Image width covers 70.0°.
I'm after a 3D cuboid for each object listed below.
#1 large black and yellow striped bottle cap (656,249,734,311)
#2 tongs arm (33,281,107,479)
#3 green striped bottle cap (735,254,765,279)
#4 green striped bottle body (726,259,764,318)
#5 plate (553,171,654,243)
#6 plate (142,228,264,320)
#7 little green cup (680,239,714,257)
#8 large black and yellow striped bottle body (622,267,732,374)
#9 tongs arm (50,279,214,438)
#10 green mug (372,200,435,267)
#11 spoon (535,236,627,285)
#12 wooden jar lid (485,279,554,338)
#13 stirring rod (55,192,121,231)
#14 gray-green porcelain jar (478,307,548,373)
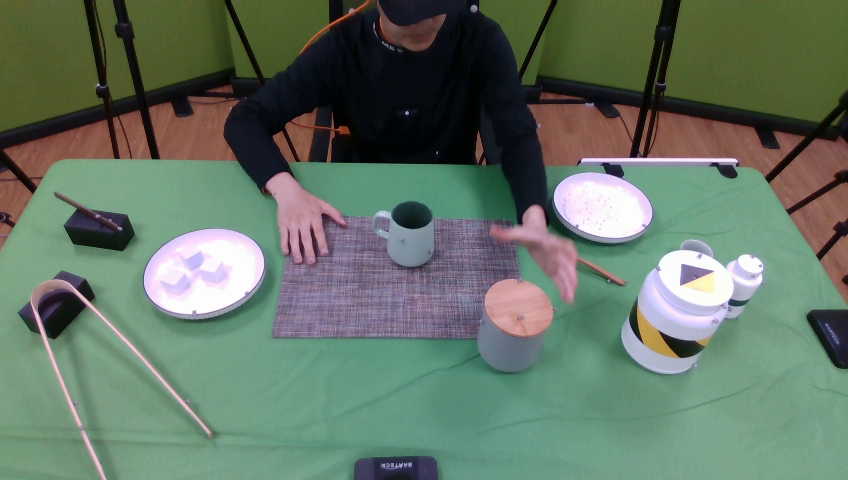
[{"bbox_3d":[0.419,0.061,0.938,0.115,0.019,0.114,2,47,-2],"label":"large black and yellow striped bottle cap"},{"bbox_3d":[-0.517,0.214,0.910,0.051,0.026,0.383,-29,63,-27],"label":"tongs arm"},{"bbox_3d":[0.566,0.046,1.051,0.044,0.020,0.044,0,45,0],"label":"green striped bottle cap"},{"bbox_3d":[0.563,0.081,1.089,0.063,0.120,0.063,2,46,-2],"label":"green striped bottle body"},{"bbox_3d":[0.373,-0.066,1.274,0.209,0.038,0.208,2,46,-2],"label":"plate"},{"bbox_3d":[-0.394,0.064,1.095,0.208,0.039,0.206,2,46,-2],"label":"plate"},{"bbox_3d":[0.530,0.033,1.190,0.061,0.039,0.061,2,47,-2],"label":"little green cup"},{"bbox_3d":[0.415,0.119,0.997,0.131,0.185,0.130,2,46,-2],"label":"large black and yellow striped bottle body"},{"bbox_3d":[-0.459,0.178,0.949,0.386,0.028,0.028,37,60,17],"label":"tongs arm"},{"bbox_3d":[-0.040,-0.015,1.145,0.125,0.105,0.092,16,48,12],"label":"green mug"},{"bbox_3d":[0.303,0.041,1.178,0.193,0.022,0.041,25,32,20],"label":"spoon"},{"bbox_3d":[0.147,0.108,0.940,0.108,0.021,0.107,4,47,-4],"label":"wooden jar lid"},{"bbox_3d":[-0.632,-0.055,1.138,0.175,0.014,0.006,24,50,19],"label":"stirring rod"},{"bbox_3d":[0.144,0.148,0.989,0.106,0.127,0.105,2,50,-2],"label":"gray-green porcelain jar"}]
